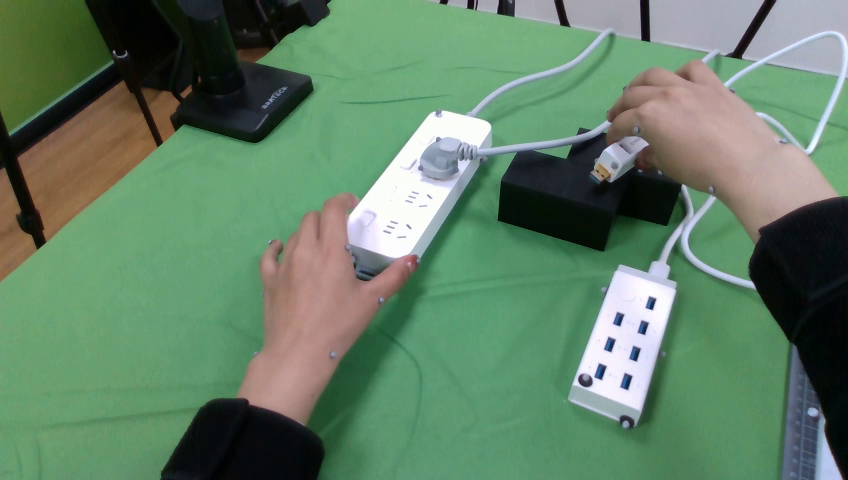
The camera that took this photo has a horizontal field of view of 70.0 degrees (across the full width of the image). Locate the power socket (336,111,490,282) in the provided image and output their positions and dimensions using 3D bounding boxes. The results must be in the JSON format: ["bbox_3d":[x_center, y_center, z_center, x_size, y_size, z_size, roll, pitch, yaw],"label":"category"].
[{"bbox_3d":[-0.004,-0.051,0.575,0.072,0.033,0.225,19,50,17],"label":"power socket"}]

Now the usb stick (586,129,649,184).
[{"bbox_3d":[0.164,-0.069,0.517,0.059,0.027,0.021,-34,70,-23],"label":"usb stick"}]

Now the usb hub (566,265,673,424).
[{"bbox_3d":[0.150,0.074,0.459,0.049,0.025,0.124,18,50,20],"label":"usb hub"}]

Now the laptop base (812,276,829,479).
[{"bbox_3d":[0.435,0.156,0.376,0.352,0.023,0.234,18,53,18],"label":"laptop base"}]

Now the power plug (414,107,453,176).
[{"bbox_3d":[0.012,-0.086,0.578,0.035,0.053,0.072,13,42,3],"label":"power plug"}]

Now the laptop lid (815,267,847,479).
[{"bbox_3d":[0.434,0.150,0.365,0.355,0.013,0.240,19,53,19],"label":"laptop lid"}]
